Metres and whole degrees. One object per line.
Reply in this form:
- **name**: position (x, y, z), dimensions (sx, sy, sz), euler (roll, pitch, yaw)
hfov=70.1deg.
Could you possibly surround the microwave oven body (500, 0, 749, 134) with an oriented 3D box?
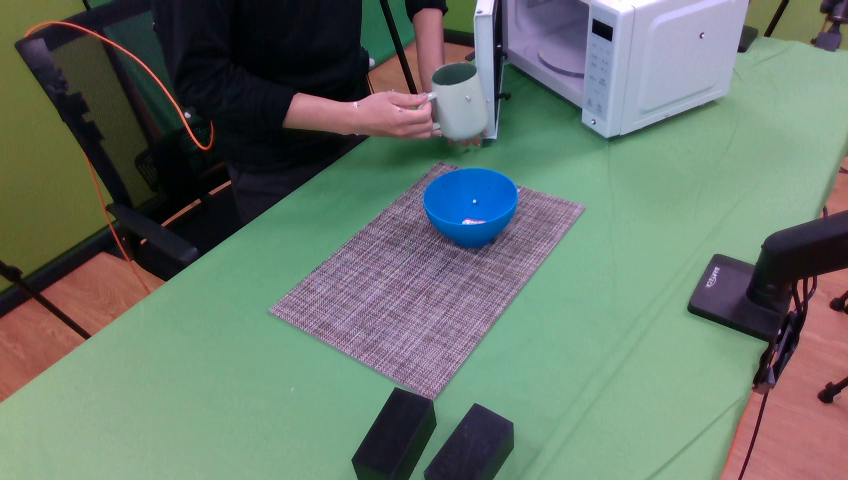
- **microwave oven body**: position (0.382, -0.445, 1.246), dimensions (0.327, 0.261, 0.437), euler (-22, 42, -16)

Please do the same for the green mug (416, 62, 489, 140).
- **green mug**: position (0.045, -0.224, 1.008), dimensions (0.125, 0.105, 0.091), euler (-27, 43, -13)

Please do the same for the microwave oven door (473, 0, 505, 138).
- **microwave oven door**: position (0.136, -0.403, 1.224), dimensions (0.039, 0.245, 0.354), euler (0, 41, 10)

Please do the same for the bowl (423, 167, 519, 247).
- **bowl**: position (0.075, -0.041, 0.959), dimensions (0.151, 0.077, 0.150), euler (-4, 40, 4)

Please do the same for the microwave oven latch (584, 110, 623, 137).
- **microwave oven latch**: position (0.337, -0.222, 1.142), dimensions (0.030, 0.029, 0.078), euler (-21, 42, -14)
